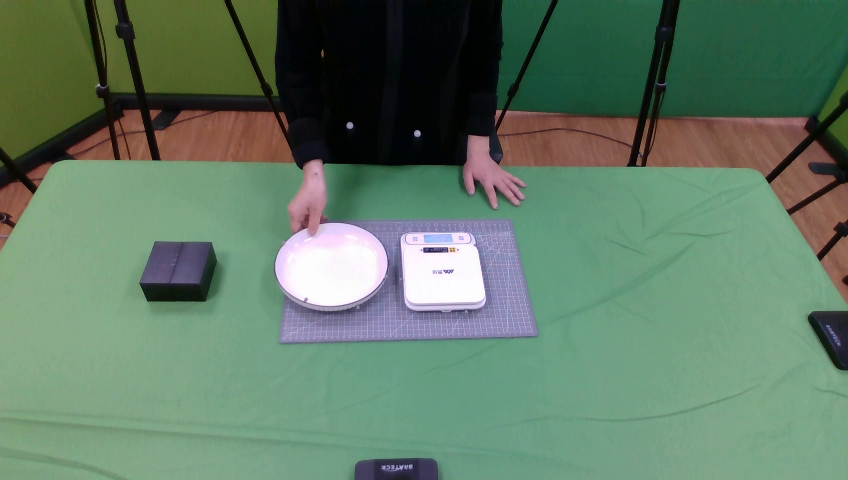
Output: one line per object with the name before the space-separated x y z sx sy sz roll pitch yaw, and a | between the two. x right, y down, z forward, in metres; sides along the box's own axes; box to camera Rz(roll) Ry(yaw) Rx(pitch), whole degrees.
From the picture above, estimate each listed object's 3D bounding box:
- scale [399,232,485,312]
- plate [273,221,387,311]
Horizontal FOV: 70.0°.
scale | 0.031 0.050 1.141 0.149 0.032 0.199 -1 46 -5
plate | -0.172 0.050 1.119 0.209 0.038 0.208 2 47 -2
